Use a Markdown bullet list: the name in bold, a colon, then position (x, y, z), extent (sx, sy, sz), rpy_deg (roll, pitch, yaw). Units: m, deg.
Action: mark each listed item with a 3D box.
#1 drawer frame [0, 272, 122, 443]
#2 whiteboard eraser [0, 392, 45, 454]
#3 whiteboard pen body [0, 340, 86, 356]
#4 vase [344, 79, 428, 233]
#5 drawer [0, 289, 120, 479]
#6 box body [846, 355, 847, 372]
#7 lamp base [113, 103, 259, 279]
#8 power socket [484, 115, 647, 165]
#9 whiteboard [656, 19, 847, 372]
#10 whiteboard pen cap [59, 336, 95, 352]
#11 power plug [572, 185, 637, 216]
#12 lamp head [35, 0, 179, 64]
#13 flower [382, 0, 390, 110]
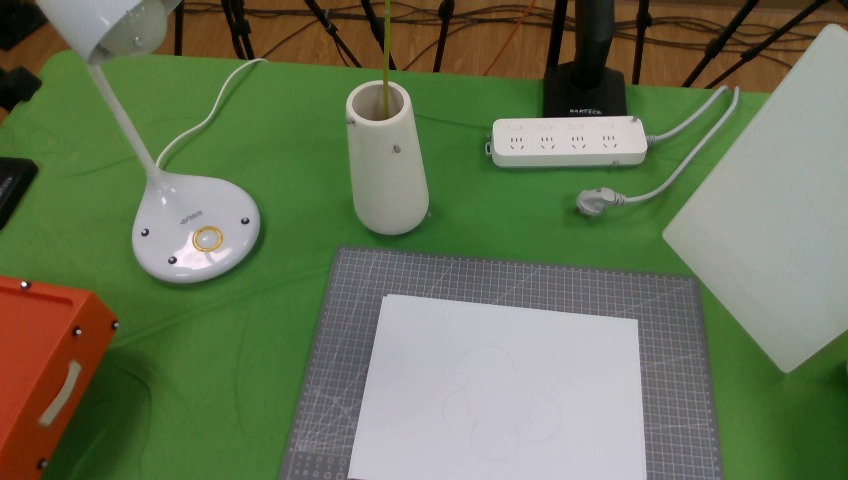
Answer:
- **drawer frame**: position (-0.461, 0.132, 0.610), extent (0.213, 0.083, 0.200), rpy_deg (9, 58, 5)
- **whiteboard eraser**: position (-0.436, 0.178, 0.596), extent (0.112, 0.042, 0.055), rpy_deg (0, 49, 11)
- **whiteboard pen body**: position (-0.431, 0.115, 0.643), extent (0.141, 0.017, 0.017), rpy_deg (-2, 56, -2)
- **vase**: position (-0.048, -0.095, 0.727), extent (0.098, 0.202, 0.097), rpy_deg (-1, 56, 3)
- **drawer**: position (-0.454, 0.131, 0.608), extent (0.211, 0.074, 0.193), rpy_deg (9, 58, 7)
- **box body**: position (0.551, 0.234, 0.515), extent (0.254, 0.162, 0.361), rpy_deg (7, 57, 6)
- **lamp base**: position (-0.307, -0.068, 0.727), extent (0.178, 0.182, 0.160), rpy_deg (34, 64, 25)
- **power socket**: position (0.198, -0.140, 0.848), extent (0.227, 0.033, 0.071), rpy_deg (0, 57, 1)
- **whiteboard**: position (0.445, -0.042, 0.650), extent (0.144, 0.307, 0.215), rpy_deg (-13, 54, -29)
- **whiteboard pen cap**: position (-0.370, 0.111, 0.645), extent (0.033, 0.018, 0.018), rpy_deg (-3, 56, 6)
- **power plug**: position (0.229, -0.044, 0.782), extent (0.073, 0.053, 0.035), rpy_deg (27, 55, -4)
- **lamp head**: position (-0.268, -0.219, 0.478), extent (0.123, 0.112, 0.112), rpy_deg (46, 62, -15)
- **flower**: position (-0.042, -0.155, 0.667), extent (0.038, 0.365, 0.043), rpy_deg (-4, 38, -9)
